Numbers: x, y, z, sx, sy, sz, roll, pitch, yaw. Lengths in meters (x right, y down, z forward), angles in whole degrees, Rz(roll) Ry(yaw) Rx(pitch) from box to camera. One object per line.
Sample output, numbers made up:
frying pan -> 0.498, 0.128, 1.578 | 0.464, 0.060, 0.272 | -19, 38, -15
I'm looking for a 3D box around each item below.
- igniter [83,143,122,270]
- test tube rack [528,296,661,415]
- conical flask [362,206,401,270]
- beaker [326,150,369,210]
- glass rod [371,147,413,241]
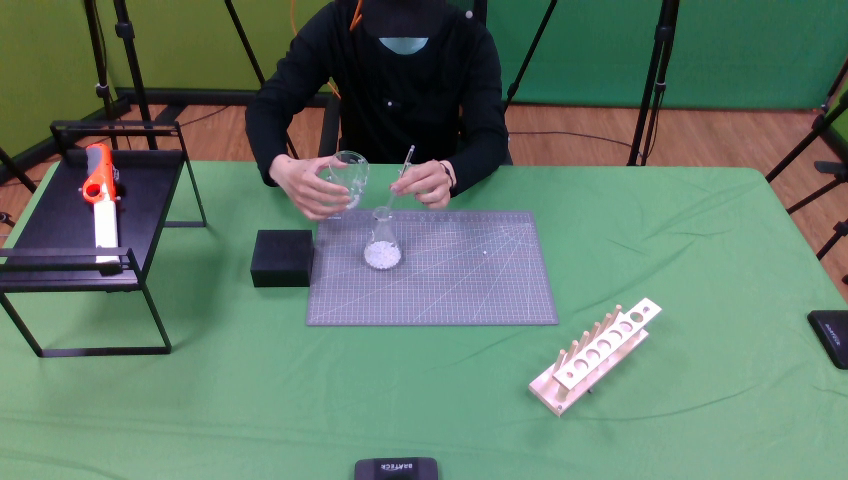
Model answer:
igniter -> -0.508, -0.063, 0.962 | 0.057, 0.025, 0.274 | -14, 53, -18
test tube rack -> 0.285, 0.178, 1.005 | 0.242, 0.085, 0.066 | -31, 55, -29
conical flask -> -0.078, -0.008, 1.127 | 0.075, 0.122, 0.075 | 2, 46, -2
beaker -> -0.146, -0.109, 1.148 | 0.074, 0.100, 0.083 | -36, 73, -30
glass rod -> -0.058, -0.078, 1.076 | 0.008, 0.200, 0.008 | 19, 30, -11
